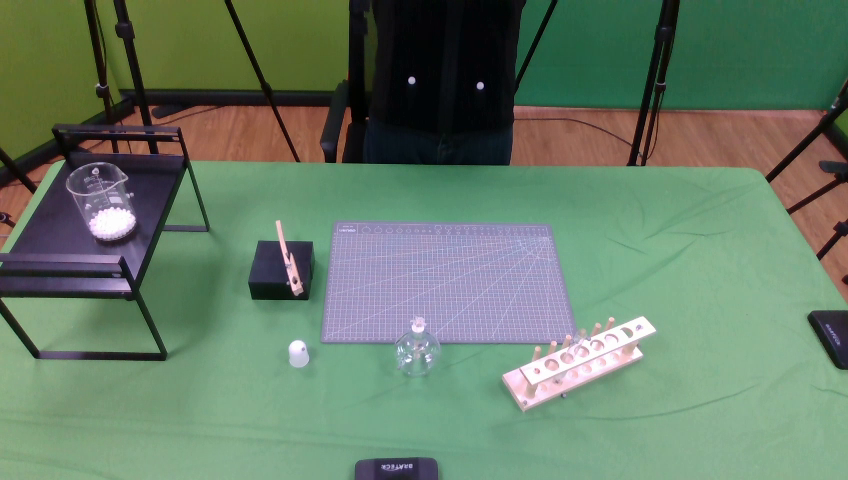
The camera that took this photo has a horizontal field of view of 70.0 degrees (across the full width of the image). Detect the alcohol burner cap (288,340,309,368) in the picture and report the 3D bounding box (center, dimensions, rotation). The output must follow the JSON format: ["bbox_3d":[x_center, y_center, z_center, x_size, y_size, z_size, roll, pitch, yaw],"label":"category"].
[{"bbox_3d":[-0.207,0.183,0.991,0.034,0.048,0.033,3,47,-3],"label":"alcohol burner cap"}]

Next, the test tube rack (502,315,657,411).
[{"bbox_3d":[0.253,0.186,0.989,0.242,0.085,0.066,-18,50,-20],"label":"test tube rack"}]

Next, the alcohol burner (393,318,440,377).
[{"bbox_3d":[-0.011,0.166,0.971,0.078,0.120,0.077,1,45,-1],"label":"alcohol burner"}]

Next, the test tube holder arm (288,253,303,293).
[{"bbox_3d":[-0.227,0.057,1.059,0.010,0.015,0.087,-15,48,-15],"label":"test tube holder arm"}]

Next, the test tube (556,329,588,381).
[{"bbox_3d":[0.224,0.178,0.925,0.017,0.151,0.017,2,52,-2],"label":"test tube"}]

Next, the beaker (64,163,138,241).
[{"bbox_3d":[-0.477,-0.055,0.910,0.084,0.101,0.073,-9,48,-13],"label":"beaker"}]

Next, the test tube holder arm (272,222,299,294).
[{"bbox_3d":[-0.250,0.028,1.087,0.013,0.015,0.177,-17,48,-16],"label":"test tube holder arm"}]
